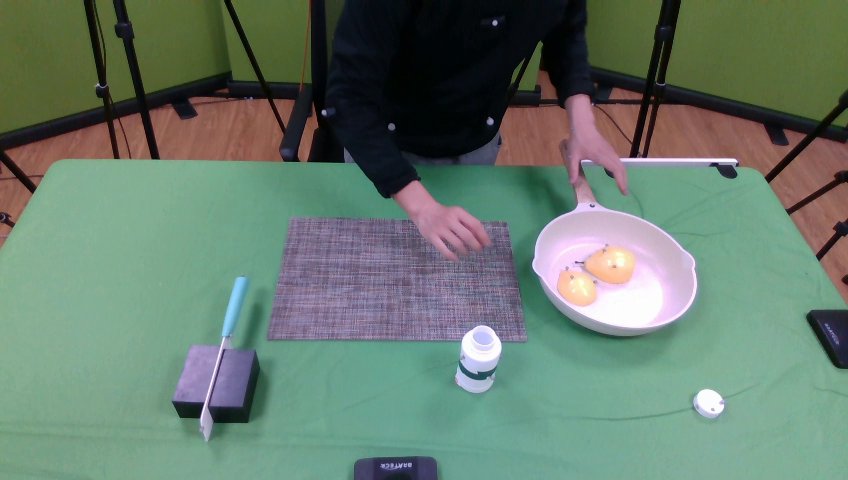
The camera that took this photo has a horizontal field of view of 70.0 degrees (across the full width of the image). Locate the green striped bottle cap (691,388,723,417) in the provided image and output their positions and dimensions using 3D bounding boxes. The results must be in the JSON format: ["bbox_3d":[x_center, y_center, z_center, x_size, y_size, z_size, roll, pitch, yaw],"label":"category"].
[{"bbox_3d":[0.460,0.263,0.984,0.044,0.020,0.044,3,47,-3],"label":"green striped bottle cap"}]

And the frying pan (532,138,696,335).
[{"bbox_3d":[0.336,-0.024,1.190,0.307,0.103,0.484,-2,55,-7],"label":"frying pan"}]

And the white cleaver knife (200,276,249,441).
[{"bbox_3d":[-0.321,0.177,0.972,0.021,0.066,0.284,7,48,-5],"label":"white cleaver knife"}]

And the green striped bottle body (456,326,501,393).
[{"bbox_3d":[0.086,0.185,0.959,0.063,0.120,0.063,2,46,-2],"label":"green striped bottle body"}]

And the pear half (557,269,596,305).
[{"bbox_3d":[0.286,0.079,1.134,0.070,0.031,0.087,-12,52,-21],"label":"pear half"}]

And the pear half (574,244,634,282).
[{"bbox_3d":[0.346,0.037,1.165,0.110,0.056,0.076,3,40,3],"label":"pear half"}]
